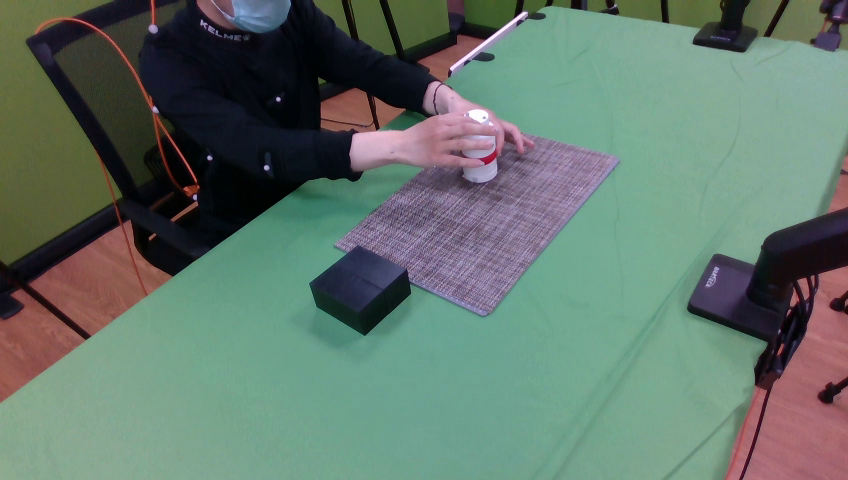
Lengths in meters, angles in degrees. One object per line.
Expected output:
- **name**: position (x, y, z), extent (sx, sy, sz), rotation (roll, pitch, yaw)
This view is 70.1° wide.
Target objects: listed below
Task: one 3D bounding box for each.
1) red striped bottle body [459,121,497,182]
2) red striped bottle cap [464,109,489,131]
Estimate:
- **red striped bottle body**: position (0.096, -0.166, 1.065), extent (0.063, 0.120, 0.062), rotation (-5, 44, 5)
- **red striped bottle cap**: position (0.089, -0.205, 1.028), extent (0.044, 0.018, 0.044), rotation (-3, 44, 4)
